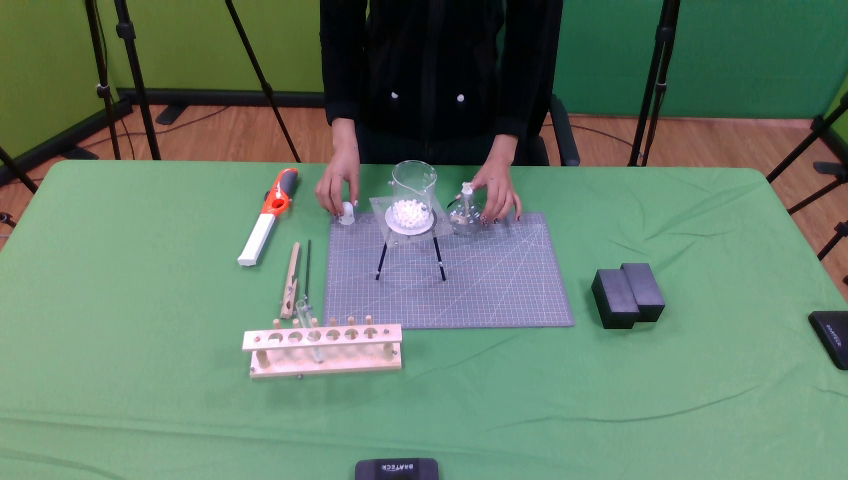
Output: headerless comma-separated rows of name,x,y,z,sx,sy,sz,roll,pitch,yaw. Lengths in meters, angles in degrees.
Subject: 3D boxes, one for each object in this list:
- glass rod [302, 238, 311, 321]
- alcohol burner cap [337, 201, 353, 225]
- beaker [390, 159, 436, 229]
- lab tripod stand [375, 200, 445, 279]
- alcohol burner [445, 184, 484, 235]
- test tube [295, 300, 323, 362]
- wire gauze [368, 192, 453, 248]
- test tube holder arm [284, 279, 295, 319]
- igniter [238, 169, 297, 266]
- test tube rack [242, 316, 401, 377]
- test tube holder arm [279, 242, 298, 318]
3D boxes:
glass rod,-0.217,0.069,1.125,0.008,0.008,0.198,-1,47,-5
alcohol burner cap,-0.161,-0.056,1.223,0.034,0.048,0.033,2,46,-2
beaker,-0.020,-0.073,1.029,0.074,0.101,0.083,-10,48,-16
lab tripod stand,-0.023,0.003,1.113,0.148,0.132,0.147,4,45,-3
alcohol burner,0.082,-0.066,1.203,0.078,0.119,0.077,2,48,-2
test tube,-0.176,0.143,0.935,0.017,0.151,0.017,-2,46,2
wire gauze,-0.025,-0.041,1.065,0.122,0.011,0.124,-10,46,-18
test tube holder arm,-0.241,0.103,1.085,0.010,0.015,0.087,25,38,-26
igniter,-0.313,-0.055,1.224,0.057,0.025,0.275,1,45,10
test tube rack,-0.161,0.166,0.983,0.242,0.085,0.066,-2,46,-6
test tube holder arm,-0.248,0.069,1.114,0.013,0.015,0.177,25,38,-26
